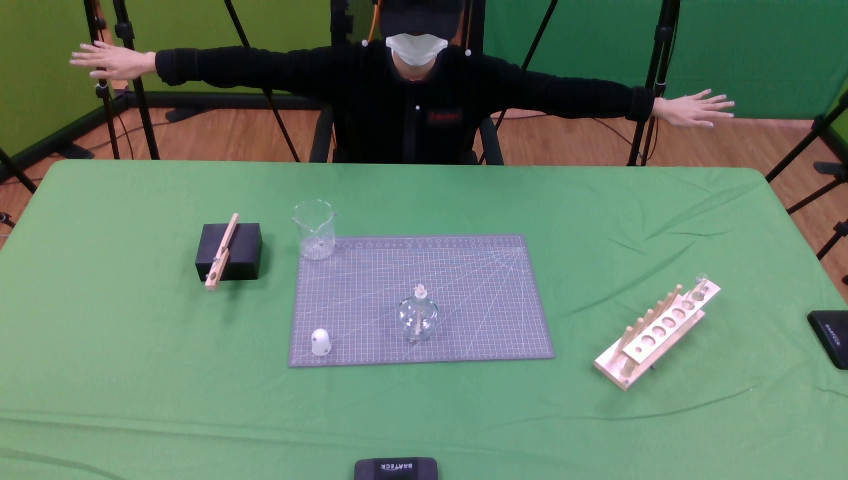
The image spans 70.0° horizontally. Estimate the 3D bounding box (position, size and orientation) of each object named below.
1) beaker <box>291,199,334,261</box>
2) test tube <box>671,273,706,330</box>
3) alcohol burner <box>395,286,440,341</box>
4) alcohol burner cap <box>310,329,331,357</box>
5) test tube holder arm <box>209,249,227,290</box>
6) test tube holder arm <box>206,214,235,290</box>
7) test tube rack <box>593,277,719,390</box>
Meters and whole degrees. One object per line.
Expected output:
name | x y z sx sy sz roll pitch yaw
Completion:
beaker | -0.206 -0.014 1.138 0.074 0.101 0.083 -7 48 -11
test tube | 0.443 0.106 1.018 0.017 0.151 0.017 -1 49 1
alcohol burner | -0.010 0.116 1.018 0.078 0.119 0.077 3 47 -3
alcohol burner cap | -0.173 0.168 1.005 0.034 0.048 0.033 2 46 -2
test tube holder arm | -0.359 0.050 1.059 0.010 0.015 0.087 8 45 -8
test tube holder arm | -0.364 0.017 1.090 0.013 0.015 0.177 7 45 -8
test tube rack | 0.401 0.148 1.043 0.242 0.085 0.066 -30 55 -29
